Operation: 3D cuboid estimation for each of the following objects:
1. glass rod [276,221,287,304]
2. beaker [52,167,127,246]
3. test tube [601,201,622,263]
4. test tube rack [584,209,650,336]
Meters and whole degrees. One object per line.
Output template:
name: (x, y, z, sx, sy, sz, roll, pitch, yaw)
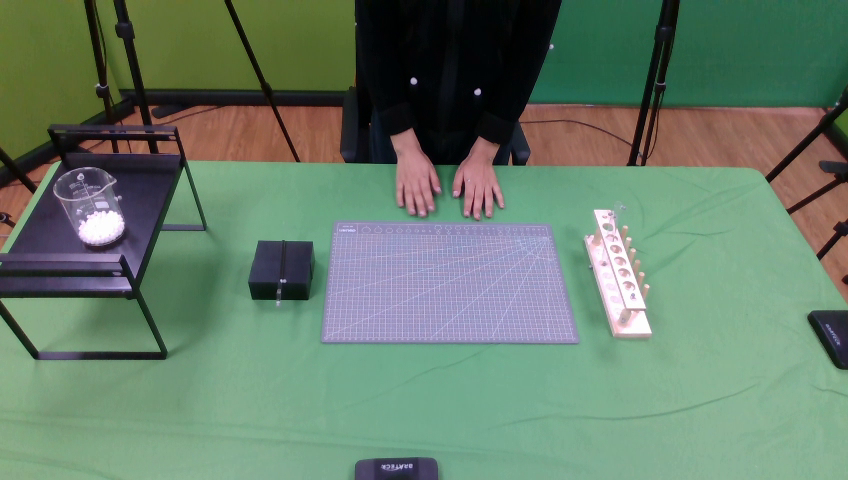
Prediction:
glass rod: (-0.255, 0.036, 1.086, 0.008, 0.008, 0.198, -2, 46, -6)
beaker: (-0.490, -0.048, 0.902, 0.084, 0.101, 0.073, -15, 49, -18)
test tube: (0.346, -0.012, 1.123, 0.017, 0.151, 0.017, -2, 44, 2)
test tube rack: (0.365, 0.056, 1.129, 0.067, 0.085, 0.240, 1, 46, -3)
